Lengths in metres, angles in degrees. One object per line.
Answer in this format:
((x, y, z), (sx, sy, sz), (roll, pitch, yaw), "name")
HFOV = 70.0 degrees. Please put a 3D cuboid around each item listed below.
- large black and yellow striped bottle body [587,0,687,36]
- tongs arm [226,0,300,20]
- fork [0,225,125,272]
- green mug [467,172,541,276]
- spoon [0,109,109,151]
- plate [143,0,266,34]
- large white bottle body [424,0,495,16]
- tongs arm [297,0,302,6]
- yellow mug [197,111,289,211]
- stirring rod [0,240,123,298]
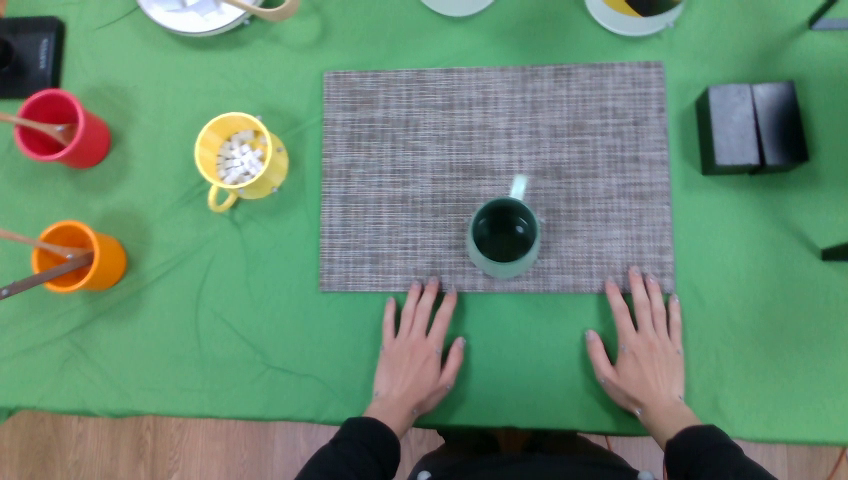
((0.271, -0.343, 0.719), (0.130, 0.184, 0.130), (-1, 82, 6), "large black and yellow striped bottle body")
((-0.342, -0.382, 0.824), (0.383, 0.026, 0.050), (29, 83, 10), "tongs arm")
((-0.486, 0.001, 0.762), (0.209, 0.018, 0.028), (23, 79, -35), "fork")
((0.101, -0.021, 0.728), (0.092, 0.105, 0.125), (17, 84, 8), "green mug")
((-0.519, -0.156, 0.789), (0.195, 0.021, 0.041), (14, 80, -37), "spoon")
((-0.301, -0.385, 0.853), (0.207, 0.039, 0.207), (-1, 83, 5), "plate")
((0.041, -0.379, 0.745), (0.130, 0.185, 0.130), (-1, 82, 6), "large white bottle body")
((-0.294, -0.451, 0.830), (0.386, 0.028, 0.028), (43, 82, 11), "tongs arm")
((-0.243, -0.097, 0.795), (0.100, 0.064, 0.130), (26, 87, 8), "yellow mug")
((-0.465, 0.038, 0.761), (0.176, 0.006, 0.014), (-31, 79, -42), "stirring rod")
